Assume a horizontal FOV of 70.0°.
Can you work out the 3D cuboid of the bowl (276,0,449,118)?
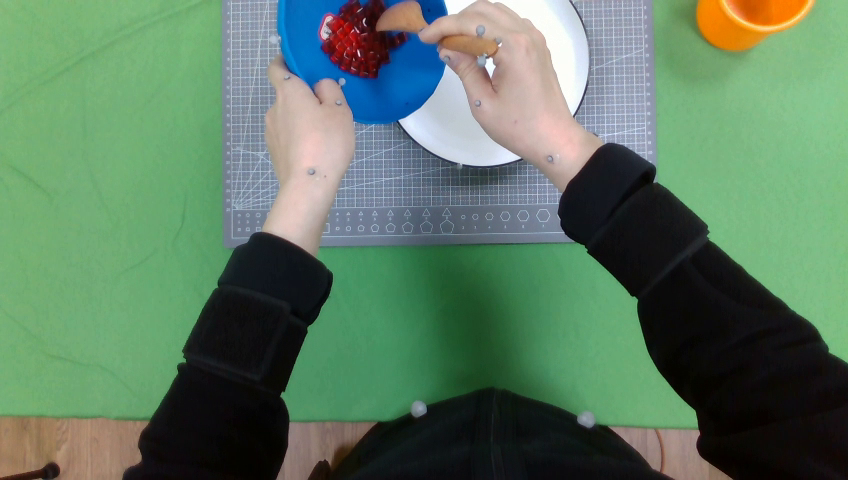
[{"bbox_3d":[-0.062,-0.180,0.514,0.152,0.076,0.152,-8,104,-31],"label":"bowl"}]

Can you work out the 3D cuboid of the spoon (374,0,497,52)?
[{"bbox_3d":[0.006,-0.160,0.449,0.041,0.191,0.022,-36,128,-6],"label":"spoon"}]

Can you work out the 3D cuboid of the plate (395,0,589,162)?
[{"bbox_3d":[0.059,-0.181,0.611,0.209,0.038,0.209,0,88,3],"label":"plate"}]
